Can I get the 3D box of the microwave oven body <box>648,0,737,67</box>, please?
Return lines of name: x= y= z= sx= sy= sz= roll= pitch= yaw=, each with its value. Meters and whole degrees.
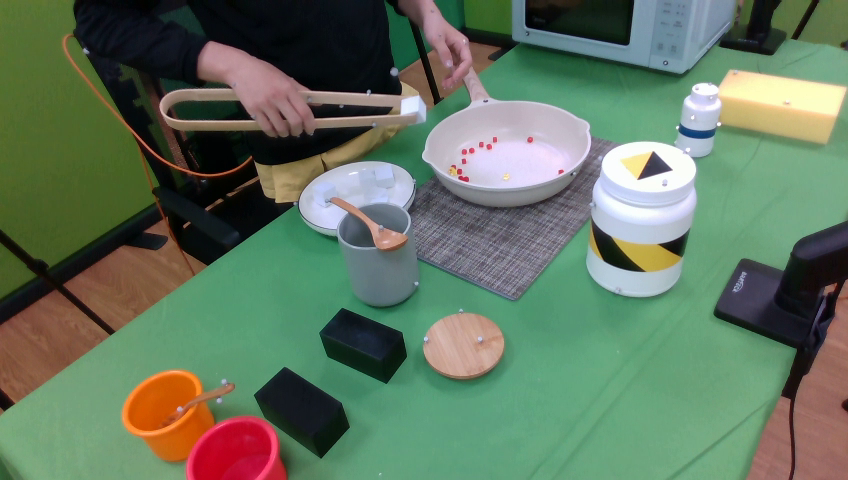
microwave oven body: x=0.475 y=-0.602 z=1.411 sx=0.438 sy=0.261 sz=0.327 roll=23 pitch=50 yaw=32

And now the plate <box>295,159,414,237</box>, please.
plate: x=-0.118 y=-0.070 z=1.055 sx=0.207 sy=0.039 sz=0.206 roll=-5 pitch=40 yaw=5

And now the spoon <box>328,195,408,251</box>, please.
spoon: x=-0.083 y=-0.029 z=0.829 sx=0.042 sy=0.022 sz=0.192 roll=-32 pitch=43 yaw=-21

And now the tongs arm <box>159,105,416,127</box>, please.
tongs arm: x=-0.206 y=-0.191 z=0.936 sx=0.389 sy=0.028 sz=0.028 roll=-2 pitch=70 yaw=-8

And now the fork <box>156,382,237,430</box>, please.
fork: x=-0.262 y=0.189 z=0.690 sx=0.206 sy=0.018 sz=0.028 roll=-34 pitch=9 yaw=42

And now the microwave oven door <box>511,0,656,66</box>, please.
microwave oven door: x=0.350 y=-0.539 z=1.349 sx=0.353 sy=0.245 sz=0.039 roll=24 pitch=50 yaw=31

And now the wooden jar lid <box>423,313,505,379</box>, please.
wooden jar lid: x=0.053 y=0.142 z=0.800 sx=0.108 sy=0.021 sz=0.108 roll=-5 pitch=39 yaw=4

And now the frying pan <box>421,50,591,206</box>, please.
frying pan: x=0.127 y=-0.233 z=1.155 sx=0.307 sy=0.103 sz=0.484 roll=-11 pitch=49 yaw=-5

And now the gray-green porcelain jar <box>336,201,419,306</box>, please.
gray-green porcelain jar: x=-0.064 y=0.024 z=0.872 sx=0.106 sy=0.127 sz=0.105 roll=-4 pitch=41 yaw=4

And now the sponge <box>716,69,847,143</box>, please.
sponge: x=0.663 y=-0.256 z=1.142 sx=0.205 sy=0.061 sz=0.118 roll=19 pitch=47 yaw=28

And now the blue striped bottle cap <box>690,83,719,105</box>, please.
blue striped bottle cap: x=0.481 y=-0.251 z=1.038 sx=0.044 sy=0.021 sz=0.044 roll=-5 pitch=40 yaw=5

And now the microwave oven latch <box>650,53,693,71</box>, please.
microwave oven latch: x=0.531 y=-0.386 z=1.301 sx=0.078 sy=0.029 sz=0.030 roll=26 pitch=51 yaw=33

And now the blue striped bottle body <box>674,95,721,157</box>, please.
blue striped bottle body: x=0.486 y=-0.213 z=1.072 sx=0.063 sy=0.121 sz=0.063 roll=-4 pitch=41 yaw=4

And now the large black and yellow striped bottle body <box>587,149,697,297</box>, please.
large black and yellow striped bottle body: x=0.298 y=-0.026 z=0.835 sx=0.131 sy=0.185 sz=0.130 roll=-4 pitch=41 yaw=4

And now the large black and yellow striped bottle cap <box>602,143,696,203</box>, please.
large black and yellow striped bottle cap: x=0.289 y=-0.088 z=0.779 sx=0.115 sy=0.019 sz=0.114 roll=-5 pitch=39 yaw=4

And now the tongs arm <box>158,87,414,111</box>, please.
tongs arm: x=-0.208 y=-0.213 z=0.946 sx=0.386 sy=0.026 sz=0.050 roll=2 pitch=66 yaw=-7
